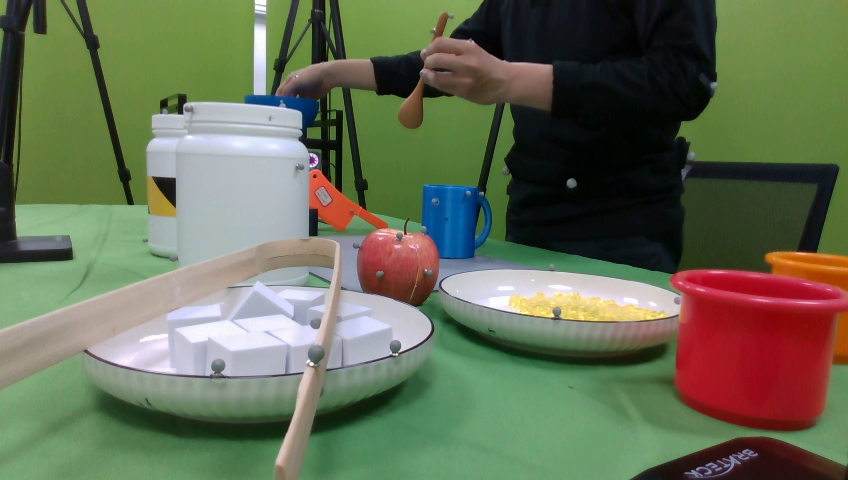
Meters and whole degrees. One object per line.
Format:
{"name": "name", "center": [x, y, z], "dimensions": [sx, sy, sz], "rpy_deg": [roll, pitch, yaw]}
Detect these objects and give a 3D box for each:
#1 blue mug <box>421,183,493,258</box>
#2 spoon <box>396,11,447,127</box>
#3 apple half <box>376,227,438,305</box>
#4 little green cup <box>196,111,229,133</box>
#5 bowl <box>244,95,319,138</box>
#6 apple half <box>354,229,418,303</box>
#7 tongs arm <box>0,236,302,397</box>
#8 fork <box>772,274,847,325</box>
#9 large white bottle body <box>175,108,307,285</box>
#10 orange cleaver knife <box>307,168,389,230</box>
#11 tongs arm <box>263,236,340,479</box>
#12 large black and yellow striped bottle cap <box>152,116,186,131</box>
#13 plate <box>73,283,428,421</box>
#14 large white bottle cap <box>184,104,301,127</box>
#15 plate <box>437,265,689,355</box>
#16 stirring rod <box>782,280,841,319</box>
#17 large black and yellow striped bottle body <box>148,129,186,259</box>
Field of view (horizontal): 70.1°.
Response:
{"name": "blue mug", "center": [0.052, -0.032, 0.912], "dimensions": [0.117, 0.106, 0.082], "rpy_deg": [-1, 8, -24]}
{"name": "spoon", "center": [-0.002, -0.243, 0.880], "dimensions": [0.041, 0.193, 0.021], "rpy_deg": [23, 39, 2]}
{"name": "apple half", "center": [-0.016, 0.026, 0.593], "dimensions": [0.080, 0.074, 0.053], "rpy_deg": [4, 2, 43]}
{"name": "little green cup", "center": [-0.403, -0.225, 1.154], "dimensions": [0.061, 0.038, 0.061], "rpy_deg": [3, 8, 0]}
{"name": "bowl", "center": [-0.293, -0.251, 1.249], "dimensions": [0.151, 0.077, 0.151], "rpy_deg": [2, 7, 0]}
{"name": "apple half", "center": [-0.044, 0.027, 0.564], "dimensions": [0.081, 0.081, 0.033], "rpy_deg": [9, 5, 42]}
{"name": "tongs arm", "center": [-0.158, 0.039, 0.351], "dimensions": [0.028, 0.028, 0.388], "rpy_deg": [-3, 8, 11]}
{"name": "fork", "center": [0.332, 0.018, 0.443], "dimensions": [0.028, 0.018, 0.207], "rpy_deg": [-1, -36, -15]}
{"name": "large white bottle body", "center": [-0.188, -0.042, 0.630], "dimensions": [0.131, 0.184, 0.130], "rpy_deg": [2, 8, 0]}
{"name": "orange cleaver knife", "center": [-0.158, -0.060, 1.166], "dimensions": [0.212, 0.077, 0.012], "rpy_deg": [34, -12, -32]}
{"name": "tongs arm", "center": [-0.074, 0.040, 0.349], "dimensions": [0.051, 0.026, 0.384], "rpy_deg": [-2, 10, -3]}
{"name": "large black and yellow striped bottle cap", "center": [-0.309, -0.155, 0.826], "dimensions": [0.115, 0.019, 0.115], "rpy_deg": [3, 6, 0]}
{"name": "plate", "center": [-0.102, 0.066, 0.381], "dimensions": [0.208, 0.039, 0.207], "rpy_deg": [2, 7, 0]}
{"name": "large white bottle cap", "center": [-0.184, -0.126, 0.618], "dimensions": [0.115, 0.018, 0.115], "rpy_deg": [2, 8, 0]}
{"name": "plate", "center": [0.114, 0.057, 0.517], "dimensions": [0.209, 0.038, 0.209], "rpy_deg": [3, 8, 0]}
{"name": "stirring rod", "center": [0.344, 0.019, 0.460], "dimensions": [0.014, 0.006, 0.176], "rpy_deg": [-13, -27, -30]}
{"name": "large black and yellow striped bottle body", "center": [-0.310, -0.073, 0.838], "dimensions": [0.131, 0.184, 0.130], "rpy_deg": [2, 8, 0]}
